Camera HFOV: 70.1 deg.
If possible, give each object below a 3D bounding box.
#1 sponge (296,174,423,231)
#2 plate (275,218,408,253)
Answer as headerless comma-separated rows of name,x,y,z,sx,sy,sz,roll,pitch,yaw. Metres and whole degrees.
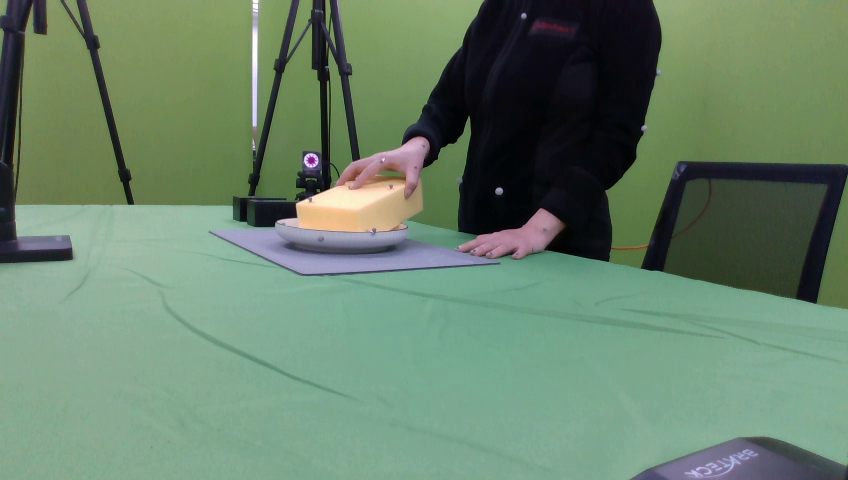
sponge,-0.100,-0.056,1.004,0.118,0.061,0.207,6,21,26
plate,-0.129,-0.009,0.954,0.209,0.038,0.209,2,7,0
